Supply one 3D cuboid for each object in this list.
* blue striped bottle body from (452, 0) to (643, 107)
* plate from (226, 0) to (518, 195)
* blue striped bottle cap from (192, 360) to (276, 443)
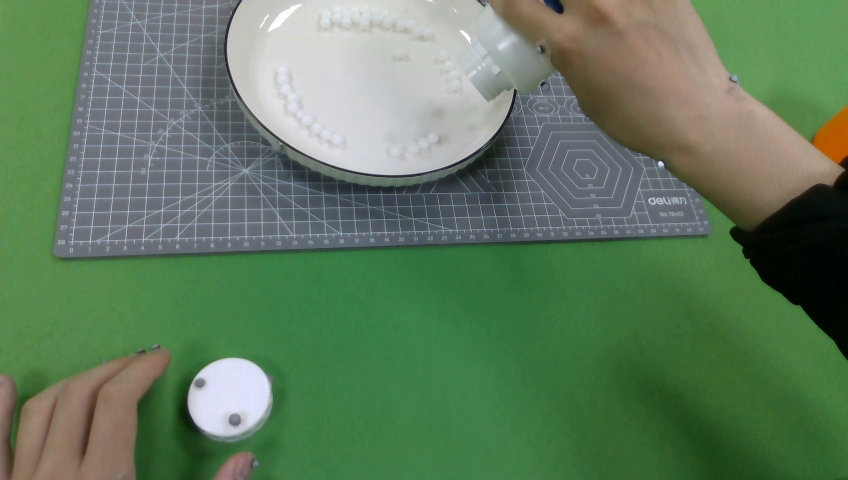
[{"bbox_3d":[0.077,-0.141,0.403,0.121,0.063,0.062,-37,71,15],"label":"blue striped bottle body"},{"bbox_3d":[-0.035,-0.118,0.445,0.208,0.039,0.206,5,62,-9],"label":"plate"},{"bbox_3d":[-0.106,0.090,0.340,0.045,0.021,0.044,4,67,-9],"label":"blue striped bottle cap"}]
